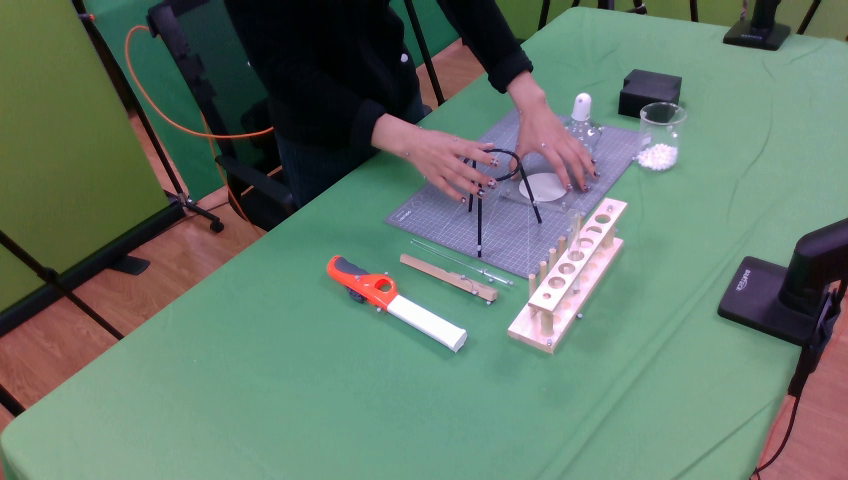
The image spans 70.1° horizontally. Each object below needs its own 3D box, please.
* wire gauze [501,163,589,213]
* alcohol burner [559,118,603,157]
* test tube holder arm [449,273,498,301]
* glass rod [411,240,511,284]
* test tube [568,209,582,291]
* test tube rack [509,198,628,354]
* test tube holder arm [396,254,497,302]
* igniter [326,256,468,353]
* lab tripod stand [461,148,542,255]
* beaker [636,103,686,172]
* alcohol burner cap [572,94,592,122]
[{"bbox_3d":[0.213,-0.097,1.065,0.124,0.011,0.121,15,45,29],"label":"wire gauze"},{"bbox_3d":[0.288,-0.212,1.104,0.078,0.119,0.077,-4,40,4],"label":"alcohol burner"},{"bbox_3d":[0.070,0.069,0.894,0.087,0.015,0.010,21,10,31],"label":"test tube holder arm"},{"bbox_3d":[0.053,0.033,0.946,0.198,0.008,0.008,22,50,36],"label":"glass rod"},{"bbox_3d":[0.200,0.017,0.799,0.017,0.151,0.017,-8,45,8],"label":"test tube"},{"bbox_3d":[0.206,0.039,0.850,0.066,0.085,0.243,20,48,31],"label":"test tube rack"},{"bbox_3d":[0.030,0.055,0.912,0.177,0.015,0.013,21,10,29],"label":"test tube holder arm"},{"bbox_3d":[-0.051,0.088,0.886,0.274,0.025,0.057,26,61,35],"label":"igniter"},{"bbox_3d":[0.114,-0.069,0.953,0.148,0.132,0.147,-5,38,4],"label":"lab tripod stand"},{"bbox_3d":[0.413,-0.177,1.055,0.084,0.101,0.073,-28,44,-21],"label":"beaker"},{"bbox_3d":[0.284,-0.238,1.079,0.034,0.048,0.033,-1,48,2],"label":"alcohol burner cap"}]
